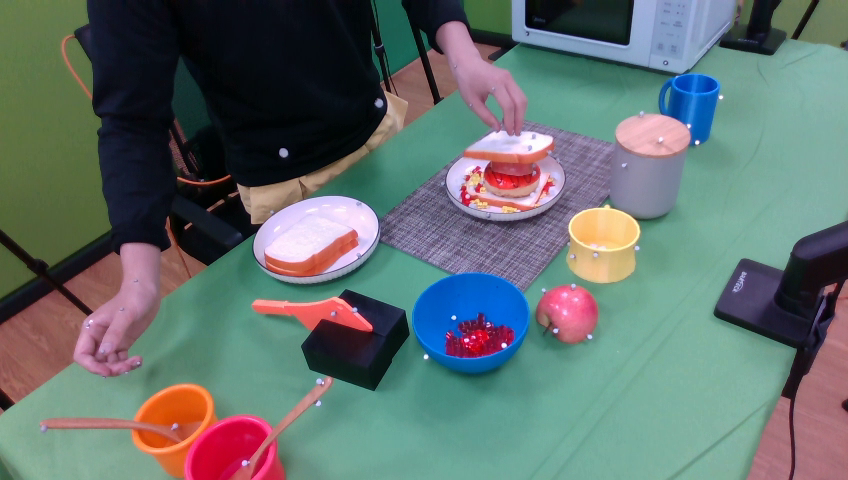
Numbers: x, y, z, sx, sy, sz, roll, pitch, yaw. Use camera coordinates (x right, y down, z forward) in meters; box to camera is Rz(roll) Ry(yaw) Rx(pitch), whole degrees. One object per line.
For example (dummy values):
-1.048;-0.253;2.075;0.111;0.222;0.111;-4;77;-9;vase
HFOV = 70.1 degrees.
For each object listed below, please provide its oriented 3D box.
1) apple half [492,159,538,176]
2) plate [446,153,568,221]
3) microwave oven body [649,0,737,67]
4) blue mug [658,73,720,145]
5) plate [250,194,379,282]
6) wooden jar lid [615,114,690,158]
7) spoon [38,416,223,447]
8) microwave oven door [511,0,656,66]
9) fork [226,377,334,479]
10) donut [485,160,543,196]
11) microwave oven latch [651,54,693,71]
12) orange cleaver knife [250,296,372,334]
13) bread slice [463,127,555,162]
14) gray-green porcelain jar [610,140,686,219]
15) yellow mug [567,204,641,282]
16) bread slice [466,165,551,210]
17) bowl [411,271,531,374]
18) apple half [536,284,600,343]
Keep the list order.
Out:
0.149;-0.140;0.996;0.081;0.033;0.081;0;39;0;apple half
0.142;-0.097;1.045;0.207;0.039;0.206;-4;40;4;plate
0.475;-0.602;1.411;0.438;0.261;0.327;23;50;32;microwave oven body
0.483;-0.250;1.127;0.082;0.106;0.115;-26;44;-19;blue mug
-0.174;-0.001;0.984;0.209;0.038;0.208;-3;40;3;plate
0.347;-0.155;0.923;0.108;0.021;0.108;-3;44;4;wooden jar lid
-0.320;0.209;0.677;0.021;0.195;0.041;-53;41;16;spoon
0.350;-0.539;1.348;0.353;0.245;0.039;24;50;31;microwave oven door
-0.163;0.216;0.647;0.207;0.019;0.028;-49;41;16;fork
0.151;-0.112;1.019;0.099;0.048;0.098;-4;40;4;donut
0.531;-0.386;1.301;0.078;0.029;0.030;26;51;33;microwave oven latch
-0.158;0.103;0.828;0.210;0.078;0.012;-4;43;39;orange cleaver knife
0.144;-0.155;0.975;0.130;0.019;0.105;13;35;35;bread slice
0.354;-0.106;0.964;0.106;0.127;0.105;-4;41;4;gray-green porcelain jar
0.268;-0.005;0.905;0.099;0.064;0.130;7;42;15;yellow mug
0.141;-0.093;1.041;0.133;0.018;0.107;8;42;20;bread slice
0.062;0.119;0.780;0.151;0.077;0.150;-4;40;4;bowl
0.196;0.091;0.815;0.075;0.053;0.080;-22;42;-20;apple half
